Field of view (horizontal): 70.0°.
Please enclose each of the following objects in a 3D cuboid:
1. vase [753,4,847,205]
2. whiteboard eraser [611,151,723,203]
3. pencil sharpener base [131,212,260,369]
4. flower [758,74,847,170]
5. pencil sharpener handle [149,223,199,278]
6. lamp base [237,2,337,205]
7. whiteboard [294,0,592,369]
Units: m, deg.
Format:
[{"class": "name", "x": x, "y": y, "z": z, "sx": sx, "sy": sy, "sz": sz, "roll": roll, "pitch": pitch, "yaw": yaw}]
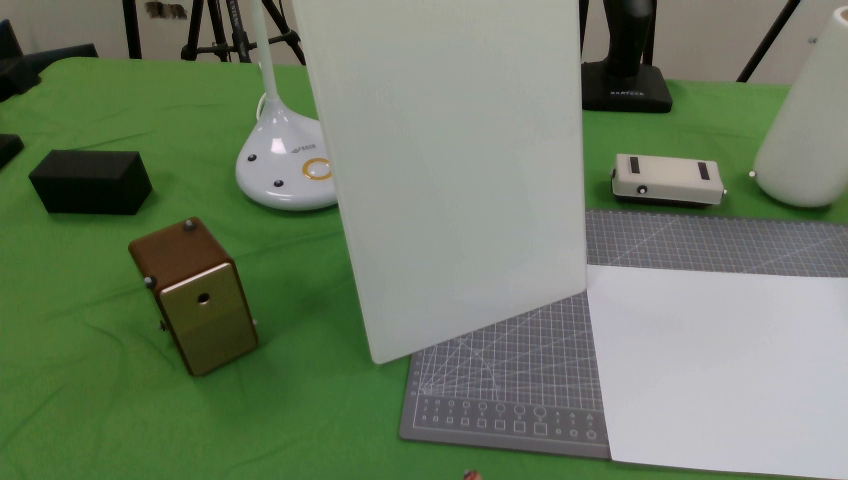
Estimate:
[{"class": "vase", "x": 0.422, "y": -0.134, "z": 0.626, "sx": 0.098, "sy": 0.202, "sz": 0.097, "roll": 1, "pitch": 42, "yaw": 0}, {"class": "whiteboard eraser", "x": 0.267, "y": -0.068, "z": 0.673, "sx": 0.112, "sy": 0.042, "sz": 0.055, "roll": 5, "pitch": 40, "yaw": 7}, {"class": "pencil sharpener base", "x": -0.189, "y": 0.042, "z": 0.505, "sx": 0.061, "sy": 0.108, "sz": 0.076, "roll": -28, "pitch": 48, "yaw": -26}, {"class": "flower", "x": 0.429, "y": -0.184, "z": 0.559, "sx": 0.044, "sy": 0.364, "sz": 0.038, "roll": -13, "pitch": 61, "yaw": -22}, {"class": "pencil sharpener handle", "x": -0.218, "y": 0.005, "z": 0.528, "sx": 0.036, "sy": 0.068, "sz": 0.030, "roll": -34, "pitch": 51, "yaw": -19}, {"class": "lamp base", "x": -0.148, "y": -0.157, "z": 0.670, "sx": 0.160, "sy": 0.182, "sz": 0.177, "roll": -31, "pitch": 48, "yaw": -29}, {"class": "whiteboard", "x": 0.013, "y": -0.082, "z": 0.535, "sx": 0.218, "sy": 0.307, "sz": 0.142, "roll": -17, "pitch": 25, "yaw": -16}]
